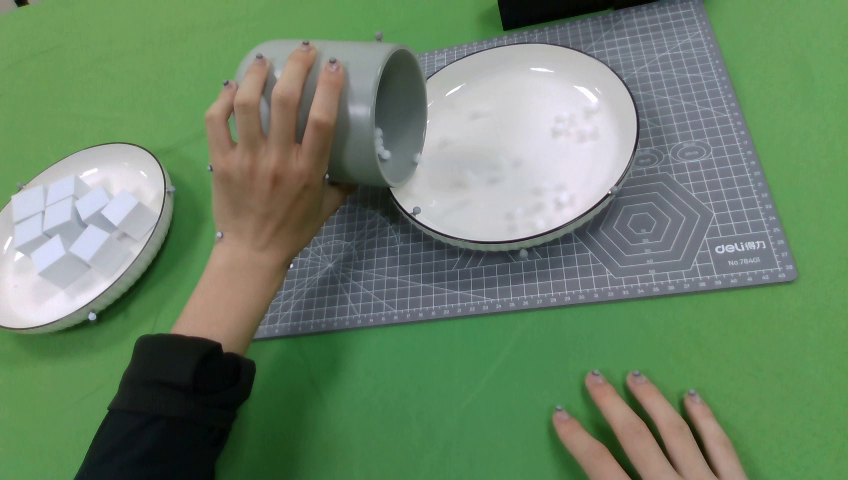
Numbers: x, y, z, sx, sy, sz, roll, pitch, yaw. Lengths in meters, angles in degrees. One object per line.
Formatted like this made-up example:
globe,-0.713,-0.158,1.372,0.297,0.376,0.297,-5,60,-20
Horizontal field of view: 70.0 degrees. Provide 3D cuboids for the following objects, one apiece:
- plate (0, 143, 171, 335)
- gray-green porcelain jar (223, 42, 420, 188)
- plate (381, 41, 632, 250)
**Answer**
plate,-0.333,-0.002,0.582,0.207,0.039,0.205,-8,57,13
gray-green porcelain jar,-0.079,-0.098,0.470,0.126,0.107,0.105,7,62,19
plate,0.062,-0.078,0.500,0.209,0.038,0.207,-8,57,13
